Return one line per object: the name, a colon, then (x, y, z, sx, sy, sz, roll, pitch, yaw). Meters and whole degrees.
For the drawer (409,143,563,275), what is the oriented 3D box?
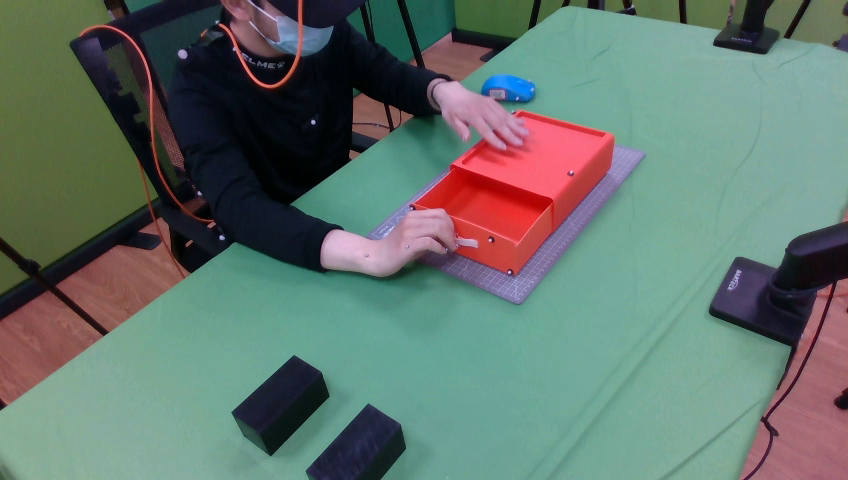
drawer: (0.117, -0.060, 0.972, 0.193, 0.073, 0.212, 22, 49, 31)

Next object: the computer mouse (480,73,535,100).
computer mouse: (0.183, -0.335, 1.320, 0.117, 0.041, 0.063, 11, 42, 14)

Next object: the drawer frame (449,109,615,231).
drawer frame: (0.185, -0.126, 1.037, 0.200, 0.083, 0.214, 23, 48, 31)
